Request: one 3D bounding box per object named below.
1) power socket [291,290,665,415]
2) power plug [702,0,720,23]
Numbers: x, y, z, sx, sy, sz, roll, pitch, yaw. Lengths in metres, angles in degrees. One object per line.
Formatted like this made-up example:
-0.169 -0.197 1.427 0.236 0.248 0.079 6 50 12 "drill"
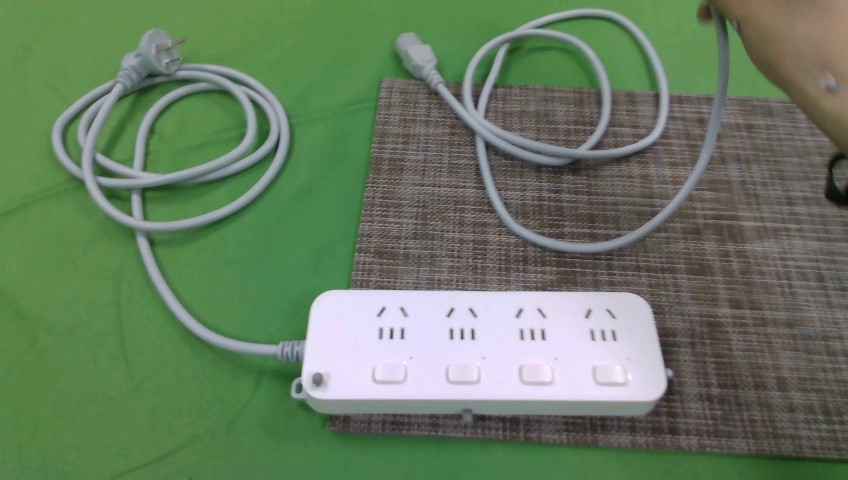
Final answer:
0.034 0.068 0.366 0.227 0.033 0.071 0 56 -1 "power socket"
0.155 -0.170 0.380 0.035 0.073 0.052 -13 19 -9 "power plug"
